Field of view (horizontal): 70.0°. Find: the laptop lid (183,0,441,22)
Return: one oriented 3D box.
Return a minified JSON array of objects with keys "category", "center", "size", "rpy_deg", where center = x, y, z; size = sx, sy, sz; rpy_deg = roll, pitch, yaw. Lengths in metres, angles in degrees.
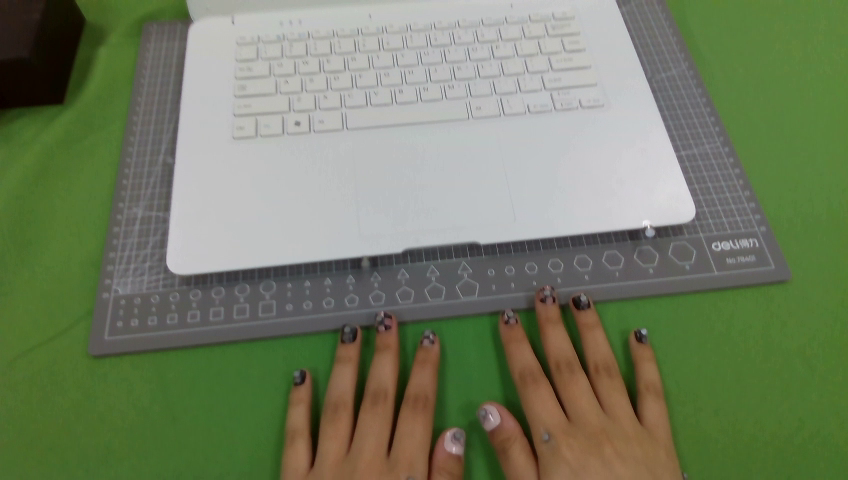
[{"category":"laptop lid","center":[-0.025,-0.292,0.449],"size":[0.357,0.244,0.013],"rpy_deg":[-7,32,-3]}]

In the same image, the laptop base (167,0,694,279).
[{"category":"laptop base","center":[-0.004,-0.092,0.455],"size":[0.355,0.023,0.233],"rpy_deg":[-6,64,-4]}]
